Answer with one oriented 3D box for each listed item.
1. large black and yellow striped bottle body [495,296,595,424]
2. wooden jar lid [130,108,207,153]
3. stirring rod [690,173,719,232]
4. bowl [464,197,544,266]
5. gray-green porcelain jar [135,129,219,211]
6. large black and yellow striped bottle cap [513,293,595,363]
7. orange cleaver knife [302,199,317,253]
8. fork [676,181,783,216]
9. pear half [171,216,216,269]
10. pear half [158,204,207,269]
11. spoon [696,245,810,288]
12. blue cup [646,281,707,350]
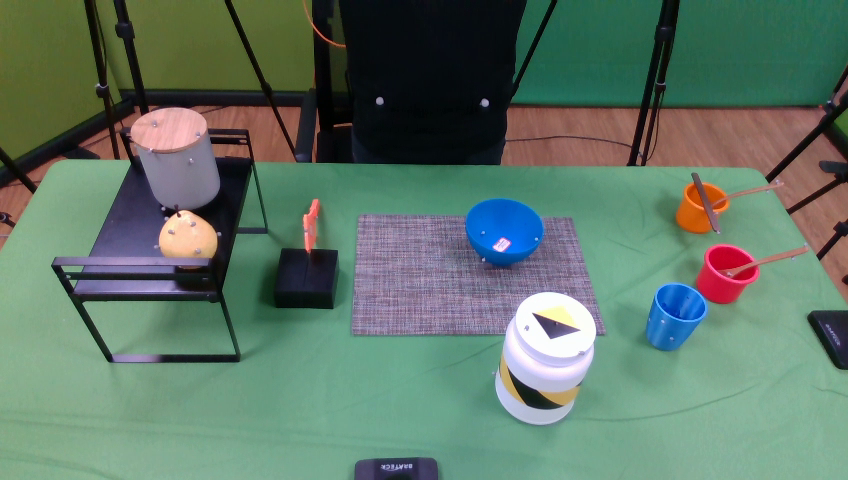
[{"bbox_3d":[0.183,0.182,0.923,0.131,0.185,0.130,2,46,-2],"label":"large black and yellow striped bottle body"},{"bbox_3d":[-0.383,-0.162,0.914,0.108,0.021,0.107,4,46,-4],"label":"wooden jar lid"},{"bbox_3d":[0.566,-0.080,1.225,0.014,0.006,0.175,2,46,2],"label":"stirring rod"},{"bbox_3d":[0.149,-0.004,1.167,0.151,0.077,0.150,2,46,-2],"label":"bowl"},{"bbox_3d":[-0.386,-0.118,0.959,0.106,0.127,0.105,2,46,-2],"label":"gray-green porcelain jar"},{"bbox_3d":[0.186,0.123,0.863,0.115,0.019,0.114,3,45,-3],"label":"large black and yellow striped bottle cap"},{"bbox_3d":[-0.219,-0.031,1.168,0.012,0.077,0.210,-4,17,-3],"label":"orange cleaver knife"},{"bbox_3d":[0.618,-0.083,1.235,0.019,0.207,0.028,54,40,-16],"label":"fork"},{"bbox_3d":[-0.323,0.007,0.867,0.031,0.088,0.070,25,46,21],"label":"pear half"},{"bbox_3d":[-0.352,-0.015,0.873,0.056,0.110,0.076,25,45,20],"label":"pear half"},{"bbox_3d":[0.601,0.047,1.114,0.193,0.022,0.041,-26,36,33],"label":"spoon"},{"bbox_3d":[0.425,0.136,1.042,0.092,0.101,0.092,1,44,-1],"label":"blue cup"}]
